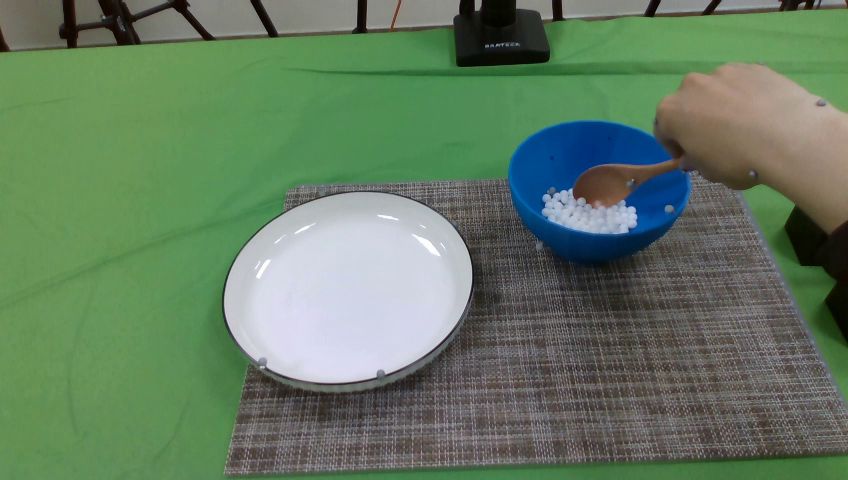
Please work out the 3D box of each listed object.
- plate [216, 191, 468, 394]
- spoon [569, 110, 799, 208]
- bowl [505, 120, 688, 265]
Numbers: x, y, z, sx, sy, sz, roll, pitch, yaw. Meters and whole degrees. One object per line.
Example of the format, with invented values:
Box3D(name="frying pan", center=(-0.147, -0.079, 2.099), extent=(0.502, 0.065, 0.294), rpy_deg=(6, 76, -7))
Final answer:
Box3D(name="plate", center=(-0.066, 0.041, 0.514), extent=(0.207, 0.039, 0.205), rpy_deg=(-2, 47, 2))
Box3D(name="spoon", center=(0.196, -0.061, 0.484), extent=(0.021, 0.042, 0.193), rpy_deg=(-42, 15, -34))
Box3D(name="bowl", center=(0.146, -0.031, 0.539), extent=(0.151, 0.077, 0.150), rpy_deg=(-2, 47, 2))
